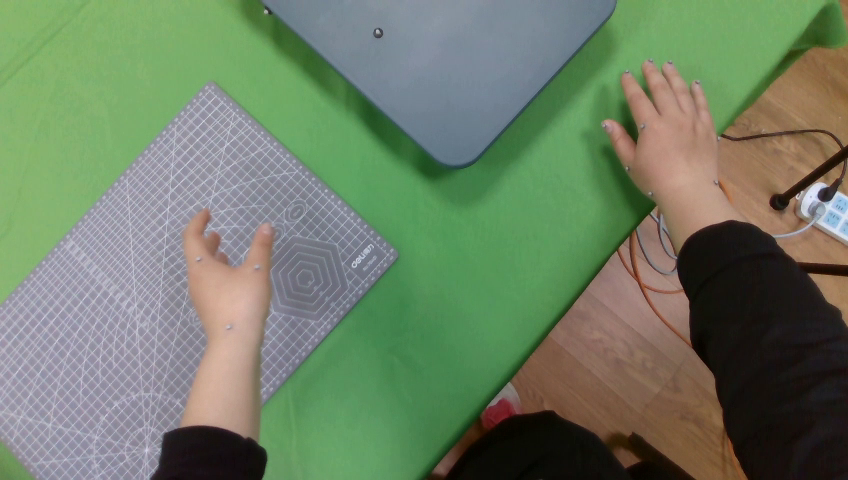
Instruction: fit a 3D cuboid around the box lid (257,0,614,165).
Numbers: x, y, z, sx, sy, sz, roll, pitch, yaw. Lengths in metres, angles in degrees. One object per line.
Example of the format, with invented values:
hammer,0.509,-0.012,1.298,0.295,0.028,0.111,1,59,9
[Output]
box lid,-0.013,-0.283,0.643,0.370,0.015,0.263,42,88,7
